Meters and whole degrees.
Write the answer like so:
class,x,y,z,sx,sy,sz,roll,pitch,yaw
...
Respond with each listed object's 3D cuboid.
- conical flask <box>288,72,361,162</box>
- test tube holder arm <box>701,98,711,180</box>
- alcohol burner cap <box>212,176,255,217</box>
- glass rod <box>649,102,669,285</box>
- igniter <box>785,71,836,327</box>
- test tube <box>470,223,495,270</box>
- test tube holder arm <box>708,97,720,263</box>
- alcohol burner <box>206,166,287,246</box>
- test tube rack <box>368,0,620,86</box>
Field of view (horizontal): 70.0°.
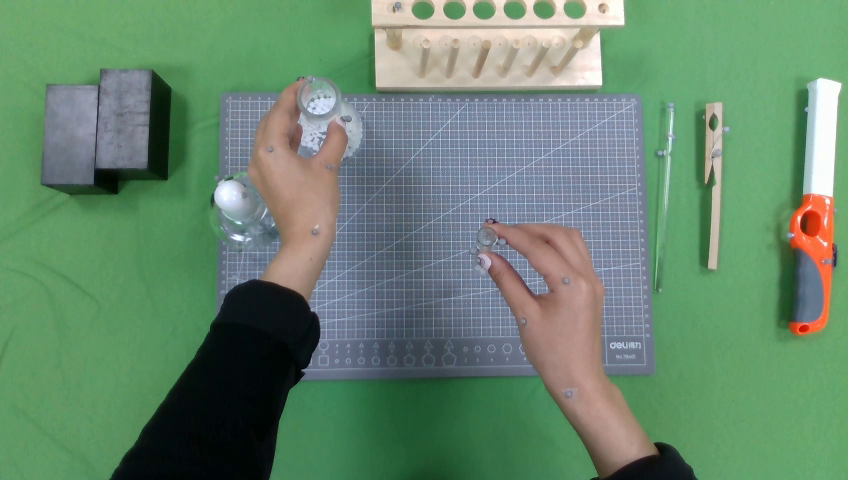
class,x,y,z,sx,sy,sz,roll,pitch,yaw
conical flask,-0.098,-0.122,0.578,0.075,0.122,0.075,0,86,-6
test tube holder arm,0.306,-0.109,0.655,0.010,0.015,0.087,-2,84,34
alcohol burner cap,-0.171,-0.041,0.537,0.034,0.048,0.033,1,80,-6
glass rod,0.252,-0.051,0.649,0.008,0.008,0.199,6,86,-2
igniter,0.414,-0.044,0.647,0.057,0.025,0.276,9,84,-12
test tube,0.049,0.008,0.520,0.017,0.151,0.017,0,79,3
test tube holder arm,0.310,-0.064,0.647,0.013,0.015,0.178,-4,83,34
alcohol burner,-0.172,-0.035,0.573,0.078,0.119,0.077,0,83,0
test tube rack,0.067,-0.205,0.618,0.242,0.085,0.066,-1,84,-3
